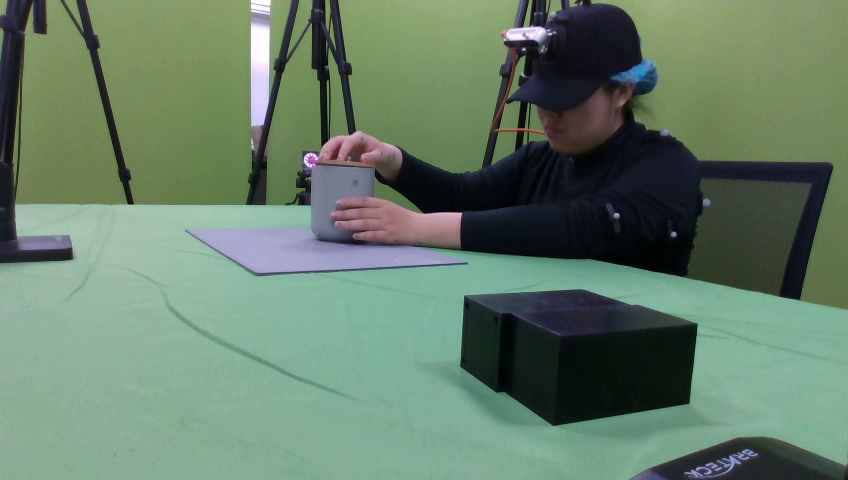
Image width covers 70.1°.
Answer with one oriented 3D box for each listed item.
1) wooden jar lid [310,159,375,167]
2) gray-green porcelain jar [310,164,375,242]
[{"bbox_3d":[-0.136,-0.124,1.017,0.108,0.020,0.108,4,7,0],"label":"wooden jar lid"},{"bbox_3d":[-0.139,-0.063,1.025,0.106,0.126,0.106,3,8,0],"label":"gray-green porcelain jar"}]
